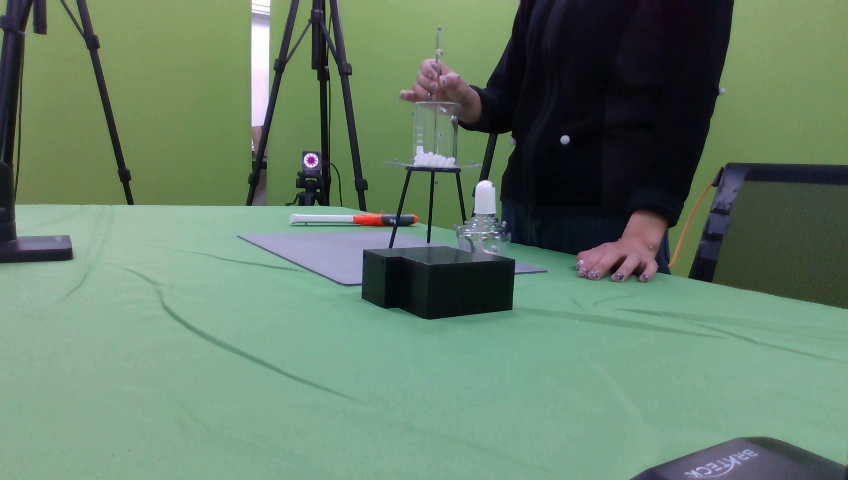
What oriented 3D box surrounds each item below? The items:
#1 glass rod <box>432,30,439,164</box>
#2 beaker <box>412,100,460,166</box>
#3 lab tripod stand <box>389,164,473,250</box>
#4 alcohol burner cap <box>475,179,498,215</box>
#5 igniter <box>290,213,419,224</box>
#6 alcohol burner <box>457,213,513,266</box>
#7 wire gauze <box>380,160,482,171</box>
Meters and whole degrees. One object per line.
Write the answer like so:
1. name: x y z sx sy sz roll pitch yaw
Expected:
1. glass rod: 0.018 -0.217 0.921 0.008 0.199 0.008 1 10 0
2. beaker: 0.020 -0.167 0.953 0.073 0.100 0.084 5 9 26
3. lab tripod stand: 0.011 -0.053 0.960 0.148 0.131 0.148 2 9 0
4. alcohol burner cap: 0.086 -0.061 0.833 0.034 0.048 0.034 0 11 0
5. igniter: -0.143 -0.046 1.288 0.278 0.025 0.057 -1 -3 -24
6. alcohol burner: 0.084 -0.025 0.837 0.078 0.119 0.078 0 8 0
7. wire gauze: 0.011 -0.119 0.951 0.122 0.011 0.124 -5 12 -32
